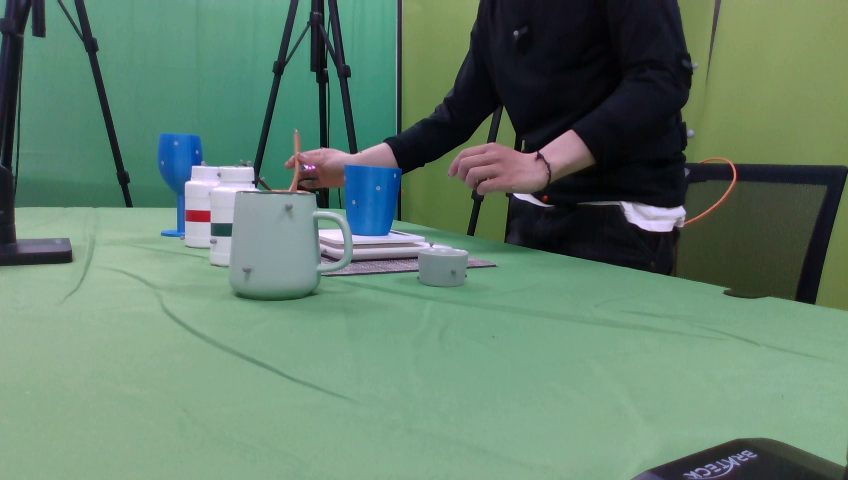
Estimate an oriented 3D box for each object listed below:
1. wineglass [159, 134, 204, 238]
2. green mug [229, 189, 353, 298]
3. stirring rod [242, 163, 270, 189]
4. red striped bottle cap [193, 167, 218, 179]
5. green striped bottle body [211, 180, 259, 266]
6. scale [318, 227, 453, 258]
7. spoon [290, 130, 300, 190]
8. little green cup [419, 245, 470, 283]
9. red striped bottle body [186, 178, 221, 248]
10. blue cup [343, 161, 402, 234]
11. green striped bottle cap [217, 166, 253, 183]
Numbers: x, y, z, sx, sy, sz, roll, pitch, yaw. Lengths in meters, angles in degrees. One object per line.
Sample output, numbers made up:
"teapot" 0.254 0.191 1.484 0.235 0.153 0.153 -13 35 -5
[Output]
"wineglass" -0.415 -0.093 1.040 0.074 0.172 0.073 2 7 0
"green mug" -0.135 0.002 0.618 0.125 0.105 0.092 2 7 4
"stirring rod" -0.298 -0.091 1.198 0.014 0.006 0.177 10 -31 45
"red striped bottle cap" -0.329 -0.103 0.921 0.044 0.017 0.044 0 8 0
"green striped bottle body" -0.243 -0.029 0.784 0.063 0.119 0.063 2 7 0
"scale" -0.067 0.001 0.906 0.202 0.031 0.148 -2 8 -31
"spoon" -0.261 -0.135 1.227 0.021 0.193 0.042 -7 -19 26
"little green cup" 0.023 0.028 0.712 0.061 0.038 0.061 2 6 0
"red striped bottle body" -0.331 -0.050 0.927 0.063 0.119 0.063 2 6 0
"blue cup" -0.078 -0.062 0.884 0.093 0.100 0.092 4 6 0
"green striped bottle cap" -0.242 -0.085 0.777 0.044 0.020 0.044 2 9 0
